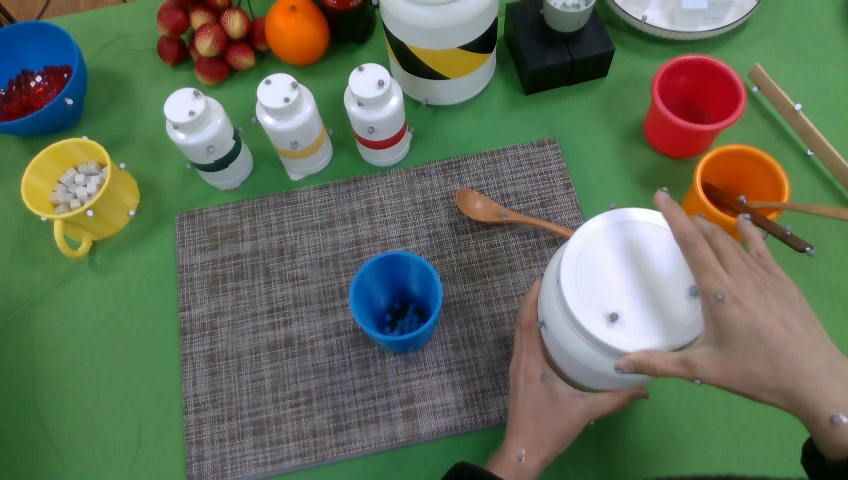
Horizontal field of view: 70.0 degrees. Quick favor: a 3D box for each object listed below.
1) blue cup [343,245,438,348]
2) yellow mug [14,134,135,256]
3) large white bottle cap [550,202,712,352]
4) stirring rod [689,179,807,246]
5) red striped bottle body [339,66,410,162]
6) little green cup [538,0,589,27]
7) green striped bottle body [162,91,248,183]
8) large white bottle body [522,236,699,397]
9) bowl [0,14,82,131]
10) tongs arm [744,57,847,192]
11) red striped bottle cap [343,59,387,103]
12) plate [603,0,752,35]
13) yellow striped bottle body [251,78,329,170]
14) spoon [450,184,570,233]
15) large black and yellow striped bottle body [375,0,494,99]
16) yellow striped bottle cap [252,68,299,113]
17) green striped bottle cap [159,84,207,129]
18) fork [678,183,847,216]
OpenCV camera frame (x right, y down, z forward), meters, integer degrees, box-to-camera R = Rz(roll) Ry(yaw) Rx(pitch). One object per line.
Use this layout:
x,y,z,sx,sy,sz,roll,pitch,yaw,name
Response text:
-0.028,0.064,0.586,0.092,0.101,0.092,-1,67,2,blue cup
-0.389,-0.046,0.674,0.100,0.064,0.130,-3,68,2,yellow mug
0.152,0.026,0.449,0.115,0.018,0.114,-2,68,4,large white bottle cap
0.309,-0.031,0.590,0.014,0.006,0.174,-10,24,-3,stirring rod
-0.055,-0.142,0.665,0.063,0.120,0.062,-3,66,7,red striped bottle body
0.160,-0.278,0.697,0.061,0.039,0.061,-1,66,2,little green cup
-0.242,-0.116,0.665,0.063,0.120,0.062,-1,67,3,green striped bottle body
0.159,0.060,0.530,0.130,0.186,0.129,-1,67,3,large white bottle body
-0.476,-0.186,0.729,0.151,0.077,0.150,-1,68,2,bowl
0.479,-0.057,0.644,0.051,0.027,0.381,-24,69,-8,tongs arm
-0.060,-0.163,0.617,0.044,0.018,0.044,0,66,-1,red striped bottle cap
0.314,-0.340,0.768,0.209,0.038,0.207,-1,68,3,plate
-0.148,-0.133,0.666,0.063,0.121,0.062,-2,68,4,yellow striped bottle body
0.120,-0.021,0.654,0.193,0.022,0.041,18,45,10,spoon
0.012,-0.260,0.675,0.131,0.185,0.130,-1,68,3,large black and yellow striped bottle body
-0.152,-0.153,0.619,0.044,0.019,0.044,-1,69,2,yellow striped bottle cap
-0.246,-0.136,0.617,0.044,0.020,0.044,-1,66,2,green striped bottle cap
0.339,-0.036,0.583,0.028,0.019,0.205,-51,30,-14,fork
